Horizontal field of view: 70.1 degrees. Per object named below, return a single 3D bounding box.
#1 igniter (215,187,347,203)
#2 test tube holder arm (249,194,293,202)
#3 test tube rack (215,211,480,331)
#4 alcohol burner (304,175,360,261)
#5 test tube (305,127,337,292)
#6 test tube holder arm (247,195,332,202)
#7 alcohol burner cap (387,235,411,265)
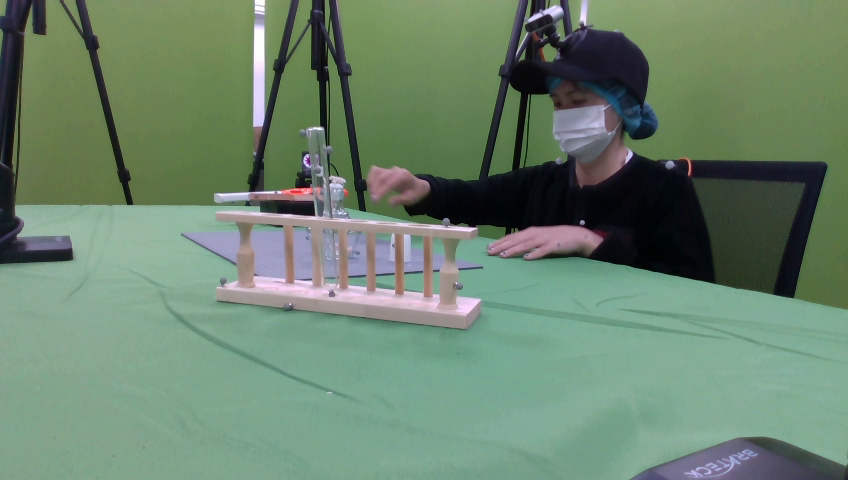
[{"bbox_3d":[-0.293,-0.095,1.267,0.278,0.025,0.057,-6,12,-33],"label":"igniter"},{"bbox_3d":[-0.303,-0.084,1.200,0.088,0.015,0.010,-2,2,-35],"label":"test tube holder arm"},{"bbox_3d":[-0.071,0.023,0.565,0.242,0.085,0.067,5,7,16],"label":"test tube rack"},{"bbox_3d":[-0.126,-0.031,0.838,0.078,0.119,0.078,3,5,0],"label":"alcohol burner"},{"bbox_3d":[-0.092,-0.026,0.546,0.017,0.150,0.017,-4,9,1],"label":"test tube"},{"bbox_3d":[-0.269,-0.085,1.230,0.179,0.015,0.013,-2,2,-35],"label":"test tube holder arm"},{"bbox_3d":[-0.035,0.009,0.839,0.034,0.048,0.034,2,6,0],"label":"alcohol burner cap"}]
